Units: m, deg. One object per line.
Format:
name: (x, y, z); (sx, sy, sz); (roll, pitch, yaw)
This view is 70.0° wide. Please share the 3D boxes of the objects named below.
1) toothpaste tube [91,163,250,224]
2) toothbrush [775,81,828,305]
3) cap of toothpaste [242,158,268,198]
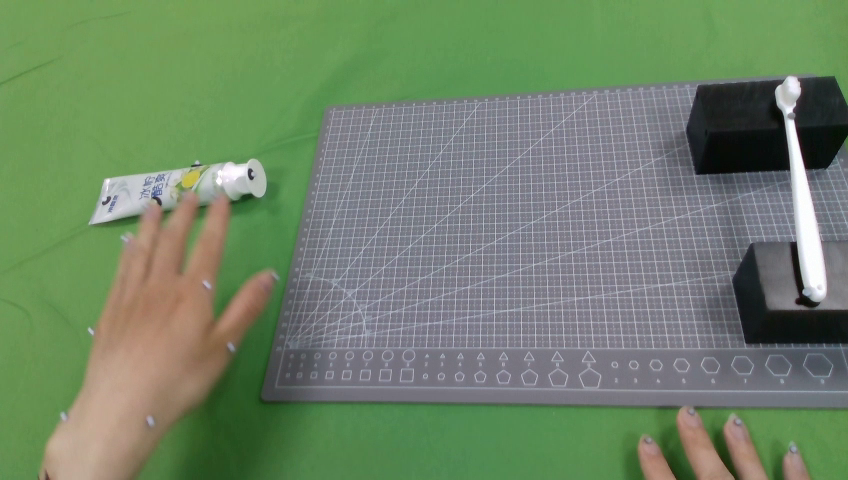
toothpaste tube: (-0.229, -0.048, 0.560); (0.165, 0.035, 0.054); (-7, 52, 10)
toothbrush: (0.255, -0.039, 0.408); (0.014, 0.017, 0.180); (12, 60, 0)
cap of toothpaste: (-0.152, -0.055, 0.543); (0.011, 0.038, 0.037); (-7, 56, 11)
